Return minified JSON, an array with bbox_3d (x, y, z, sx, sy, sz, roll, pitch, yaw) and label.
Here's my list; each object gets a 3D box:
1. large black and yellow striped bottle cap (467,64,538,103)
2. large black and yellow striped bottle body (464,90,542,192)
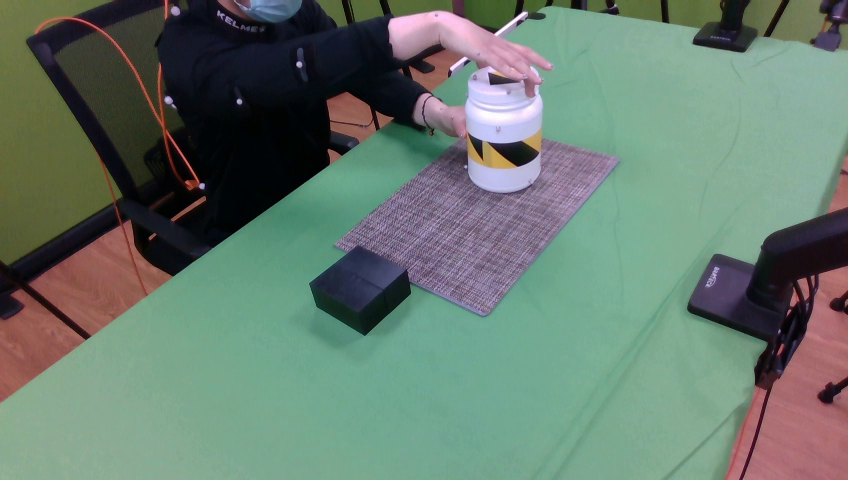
[{"bbox_3d":[0.127,-0.256,0.982,0.115,0.019,0.114,-4,39,4],"label":"large black and yellow striped bottle cap"},{"bbox_3d":[0.136,-0.190,1.039,0.131,0.185,0.130,-4,41,4],"label":"large black and yellow striped bottle body"}]
